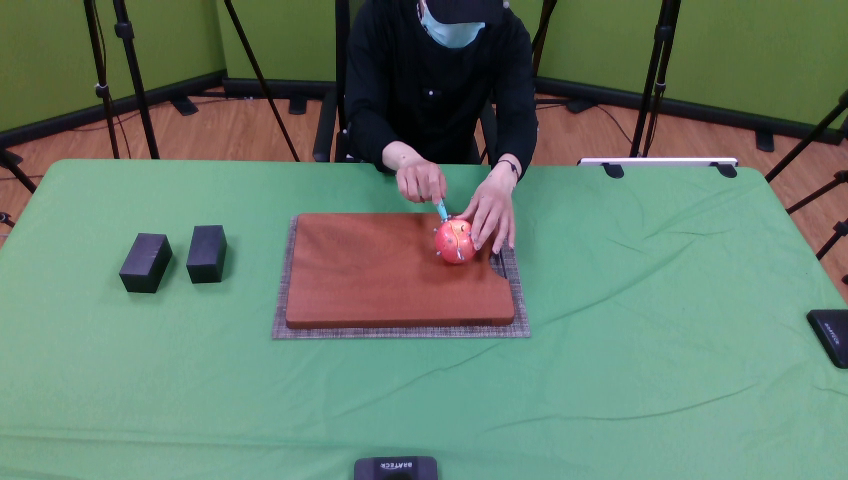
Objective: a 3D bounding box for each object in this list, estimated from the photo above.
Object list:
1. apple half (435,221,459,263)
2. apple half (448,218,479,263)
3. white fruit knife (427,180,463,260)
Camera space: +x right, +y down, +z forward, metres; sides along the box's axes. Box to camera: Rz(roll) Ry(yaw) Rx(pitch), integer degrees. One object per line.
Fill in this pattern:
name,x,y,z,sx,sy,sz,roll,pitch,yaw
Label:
apple half,0.037,0.008,1.113,0.033,0.081,0.080,-9,47,-15
apple half,0.074,0.001,1.123,0.053,0.075,0.080,-7,43,-18
white fruit knife,0.040,-0.042,1.133,0.016,0.027,0.206,-13,52,-10
